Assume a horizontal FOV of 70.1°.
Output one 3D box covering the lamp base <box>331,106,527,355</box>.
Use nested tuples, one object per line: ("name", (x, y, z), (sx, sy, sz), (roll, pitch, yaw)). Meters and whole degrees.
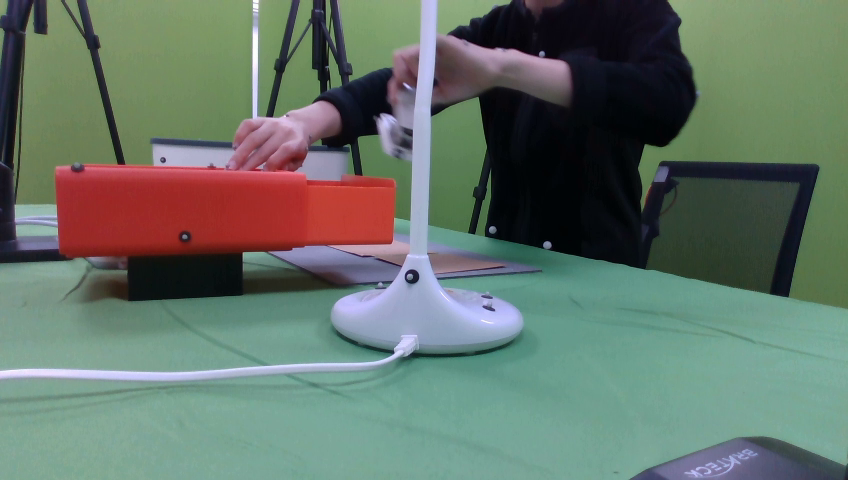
("lamp base", (0.006, -0.012, 0.478), (0.161, 0.180, 0.179), (2, 10, 2))

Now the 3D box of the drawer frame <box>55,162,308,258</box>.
("drawer frame", (-0.246, -0.038, 0.630), (0.214, 0.082, 0.200), (-2, 9, -25))

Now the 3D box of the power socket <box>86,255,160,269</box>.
("power socket", (-0.409, 0.004, 0.793), (0.072, 0.032, 0.225), (-2, 8, -38))

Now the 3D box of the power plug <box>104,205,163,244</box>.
("power plug", (-0.390, -0.021, 0.815), (0.073, 0.052, 0.035), (-1, 7, -27))

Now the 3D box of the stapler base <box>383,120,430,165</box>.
("stapler base", (-0.020, -0.120, 0.691), (0.041, 0.024, 0.130), (9, 26, -15))

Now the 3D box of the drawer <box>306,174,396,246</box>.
("drawer", (-0.161, -0.038, 0.672), (0.213, 0.073, 0.193), (-2, 9, -25))

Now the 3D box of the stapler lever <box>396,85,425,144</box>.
("stapler lever", (-0.012, -0.141, 0.679), (0.027, 0.040, 0.117), (9, 27, -15))

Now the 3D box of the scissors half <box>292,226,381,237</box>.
("scissors half", (-0.153, -0.015, 1.079), (0.176, 0.013, 0.040), (-7, 2, -33))

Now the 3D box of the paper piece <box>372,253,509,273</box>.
("paper piece", (0.021, 0.029, 0.829), (0.139, 0.008, 0.135), (-2, 11, -36))

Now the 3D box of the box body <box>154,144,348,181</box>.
("box body", (-0.357, -0.119, 1.264), (0.365, 0.160, 0.253), (0, 7, -18))

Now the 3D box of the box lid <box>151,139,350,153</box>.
("box lid", (-0.352, -0.191, 1.255), (0.373, 0.015, 0.262), (0, 8, -18))

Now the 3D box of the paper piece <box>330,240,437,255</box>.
("paper piece", (-0.068, 0.011, 0.936), (0.136, 0.004, 0.134), (-2, 9, -33))

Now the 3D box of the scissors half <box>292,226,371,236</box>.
("scissors half", (-0.166, -0.015, 1.094), (0.040, 0.013, 0.176), (2, 7, 39))
